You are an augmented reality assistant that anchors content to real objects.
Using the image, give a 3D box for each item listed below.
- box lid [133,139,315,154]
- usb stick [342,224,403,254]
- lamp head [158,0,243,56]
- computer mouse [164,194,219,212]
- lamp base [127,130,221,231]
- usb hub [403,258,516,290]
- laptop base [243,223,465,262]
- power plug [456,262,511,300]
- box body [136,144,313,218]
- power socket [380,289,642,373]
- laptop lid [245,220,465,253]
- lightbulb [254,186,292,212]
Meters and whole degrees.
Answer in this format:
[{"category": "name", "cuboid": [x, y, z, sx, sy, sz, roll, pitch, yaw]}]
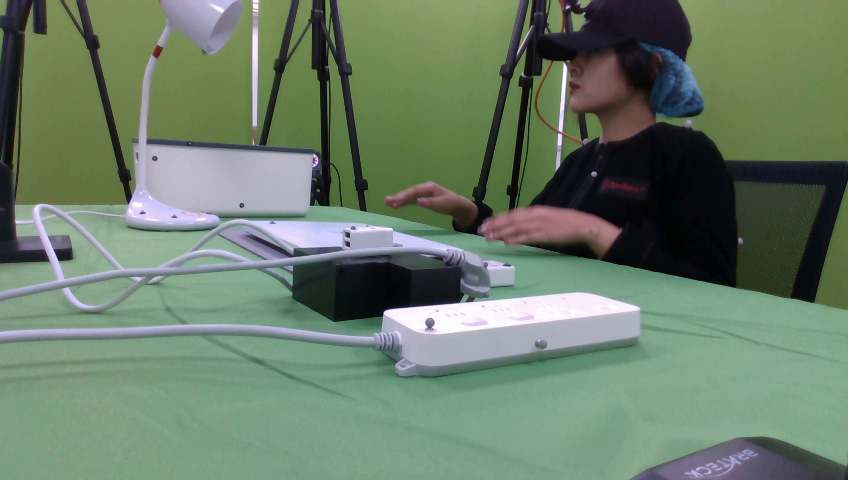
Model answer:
[{"category": "box lid", "cuboid": [-0.466, -0.215, 1.407, 0.373, 0.015, 0.262, -1, 8, -31]}, {"category": "usb stick", "cuboid": [-0.047, -0.001, 0.567, 0.059, 0.027, 0.021, 0, 5, -32]}, {"category": "lamp head", "cuboid": [-0.399, -0.397, 1.057, 0.123, 0.112, 0.112, 27, 5, -7]}, {"category": "computer mouse", "cuboid": [-0.532, -0.084, 1.387, 0.118, 0.041, 0.062, 2, 4, -31]}, {"category": "lamp base", "cuboid": [-0.469, -0.112, 1.108, 0.179, 0.180, 0.160, 0, 7, 3]}, {"category": "usb hub", "cuboid": [0.042, 0.038, 0.690, 0.126, 0.025, 0.049, -2, 10, -30]}, {"category": "laptop base", "cuboid": [-0.126, 0.003, 0.946, 0.237, 0.023, 0.352, 2, 6, -31]}, {"category": "power plug", "cuboid": [0.051, 0.050, 0.543, 0.035, 0.052, 0.072, 7, 37, -20]}, {"category": "box body", "cuboid": [-0.467, -0.141, 1.417, 0.366, 0.160, 0.253, -2, 8, -31]}, {"category": "power socket", "cuboid": [0.072, 0.064, 0.461, 0.228, 0.032, 0.072, -2, 8, -30]}, {"category": "laptop lid", "cuboid": [-0.124, -0.009, 0.945, 0.243, 0.013, 0.355, 1, 7, -29]}, {"category": "lightbulb", "cuboid": [-0.370, -0.094, 1.492, 0.059, 0.059, 0.108, 8, -11, 39]}]
